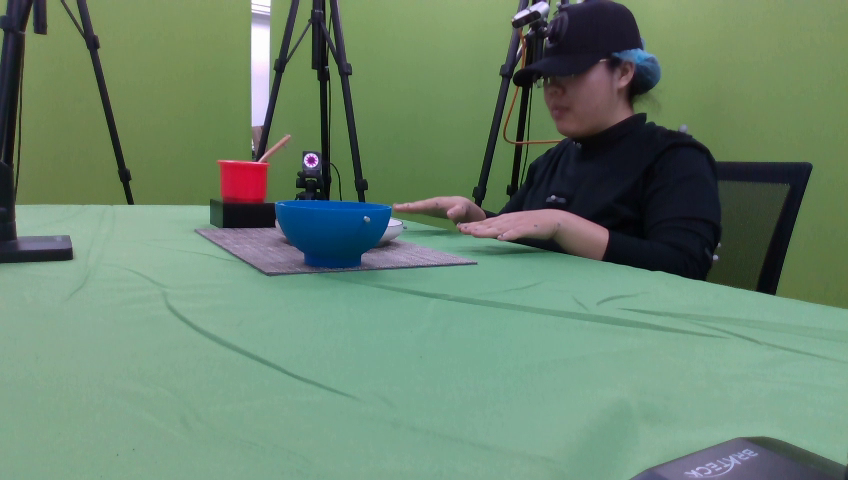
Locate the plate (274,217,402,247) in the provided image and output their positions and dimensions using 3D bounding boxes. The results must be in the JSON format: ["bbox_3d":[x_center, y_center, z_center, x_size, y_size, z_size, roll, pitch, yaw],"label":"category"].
[{"bbox_3d":[-0.140,-0.015,0.993,0.208,0.039,0.207,3,7,0],"label":"plate"}]

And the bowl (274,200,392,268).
[{"bbox_3d":[-0.117,-0.008,0.781,0.151,0.077,0.151,3,7,0],"label":"bowl"}]

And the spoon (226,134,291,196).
[{"bbox_3d":[-0.320,-0.149,1.187,0.041,0.022,0.194,9,53,36],"label":"spoon"}]
